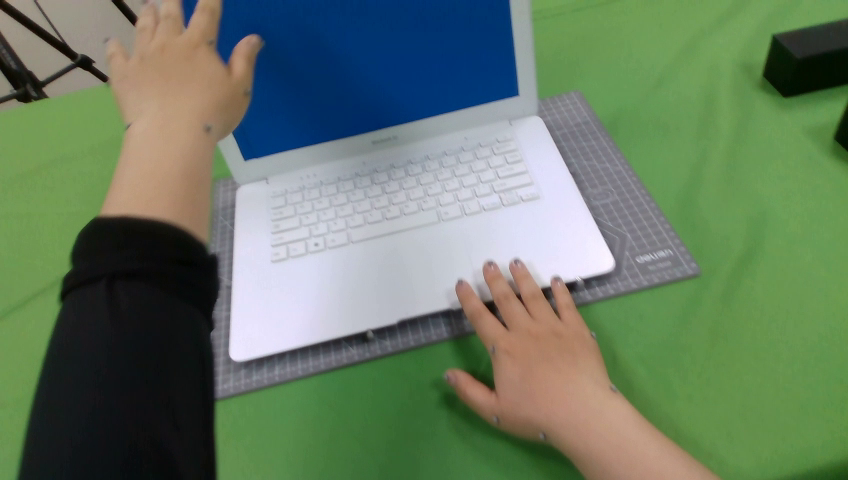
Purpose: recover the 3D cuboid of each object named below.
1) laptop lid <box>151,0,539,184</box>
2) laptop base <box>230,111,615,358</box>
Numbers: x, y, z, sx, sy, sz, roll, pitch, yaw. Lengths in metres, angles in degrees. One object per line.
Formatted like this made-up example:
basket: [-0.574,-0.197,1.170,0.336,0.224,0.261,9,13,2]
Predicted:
laptop lid: [-0.061,-0.190,0.614,0.357,0.244,0.013,-15,40,1]
laptop base: [-0.019,-0.016,0.611,0.354,0.023,0.233,-14,50,0]
